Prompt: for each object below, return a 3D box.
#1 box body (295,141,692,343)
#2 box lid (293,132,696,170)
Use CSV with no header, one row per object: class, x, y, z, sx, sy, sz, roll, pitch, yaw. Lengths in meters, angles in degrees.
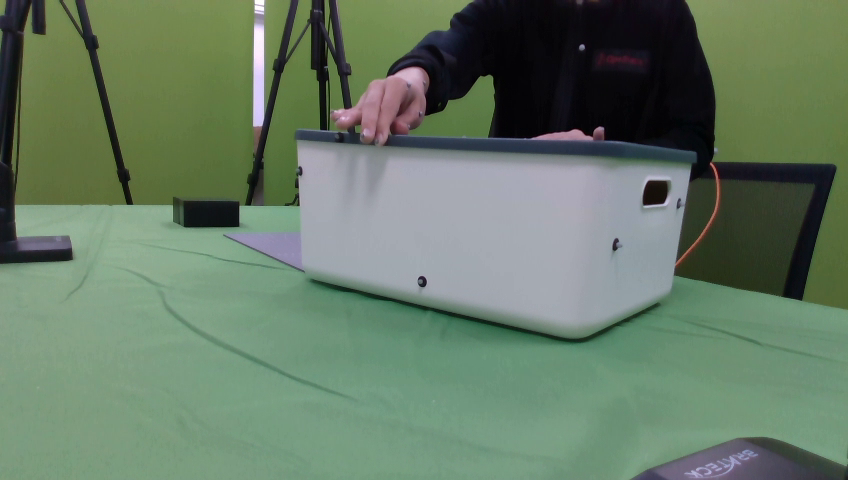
box body,0.065,-0.020,0.653,0.362,0.160,0.255,9,9,36
box lid,0.069,-0.093,0.645,0.369,0.015,0.265,9,9,37
